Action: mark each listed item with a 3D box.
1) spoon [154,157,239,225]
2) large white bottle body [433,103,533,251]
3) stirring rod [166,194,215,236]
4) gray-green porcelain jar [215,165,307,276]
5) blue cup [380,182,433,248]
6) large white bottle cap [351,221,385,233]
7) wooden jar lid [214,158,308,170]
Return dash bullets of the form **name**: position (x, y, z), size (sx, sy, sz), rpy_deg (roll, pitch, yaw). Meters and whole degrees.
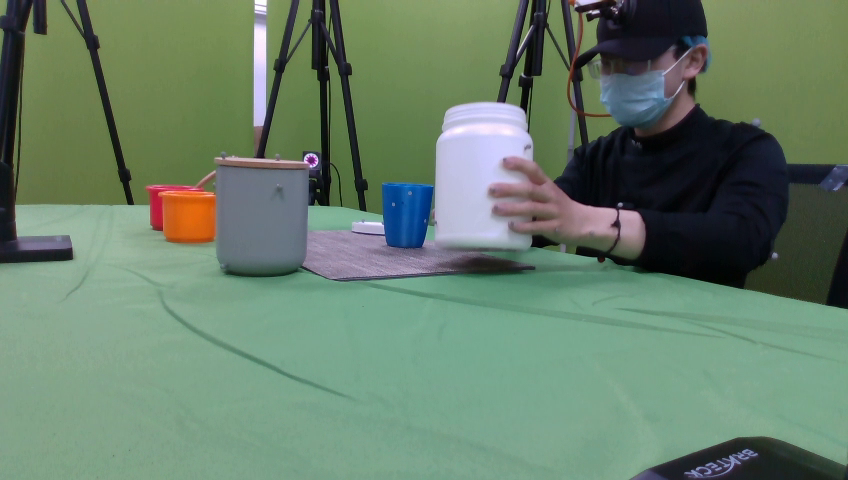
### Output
- **spoon**: position (-0.411, -0.092, 1.105), size (0.041, 0.022, 0.194), rpy_deg (13, 56, 51)
- **large white bottle body**: position (0.079, -0.078, 0.805), size (0.131, 0.184, 0.130), rpy_deg (1, -3, 0)
- **stirring rod**: position (-0.341, -0.066, 0.966), size (0.176, 0.006, 0.014), rpy_deg (-42, 23, -9)
- **gray-green porcelain jar**: position (-0.195, -0.024, 0.726), size (0.106, 0.126, 0.106), rpy_deg (3, 7, 0)
- **blue cup**: position (-0.029, -0.042, 0.980), size (0.093, 0.100, 0.092), rpy_deg (2, 9, 0)
- **large white bottle cap**: position (-0.082, -0.025, 1.162), size (0.115, 0.018, 0.115), rpy_deg (3, 4, 0)
- **wooden jar lid**: position (-0.193, -0.085, 0.719), size (0.108, 0.020, 0.108), rpy_deg (2, 9, 0)
